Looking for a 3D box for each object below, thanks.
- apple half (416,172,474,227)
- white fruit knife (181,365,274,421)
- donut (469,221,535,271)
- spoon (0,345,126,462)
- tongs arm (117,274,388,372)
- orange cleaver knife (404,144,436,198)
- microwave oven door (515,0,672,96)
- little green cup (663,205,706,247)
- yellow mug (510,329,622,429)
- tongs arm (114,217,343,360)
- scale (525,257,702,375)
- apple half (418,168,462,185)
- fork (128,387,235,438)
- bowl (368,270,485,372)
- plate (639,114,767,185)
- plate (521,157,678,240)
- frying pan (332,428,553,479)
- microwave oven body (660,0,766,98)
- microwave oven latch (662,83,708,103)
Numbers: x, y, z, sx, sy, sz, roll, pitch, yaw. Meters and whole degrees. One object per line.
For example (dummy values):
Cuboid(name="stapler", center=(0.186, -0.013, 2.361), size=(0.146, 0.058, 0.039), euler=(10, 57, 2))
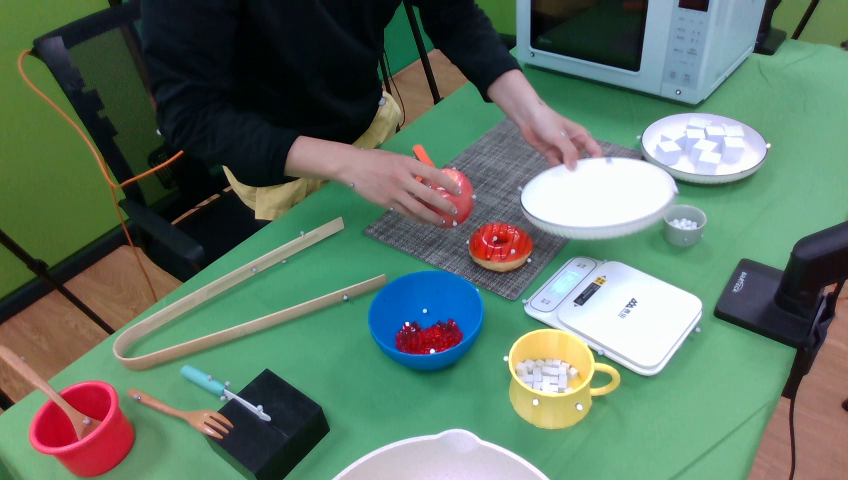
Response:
Cuboid(name="apple half", center=(0.032, -0.050, 0.845), size=(0.081, 0.075, 0.053), euler=(-10, 46, -1))
Cuboid(name="white fruit knife", center=(-0.245, 0.187, 0.747), size=(0.205, 0.027, 0.016), euler=(9, 41, 40))
Cuboid(name="donut", center=(0.118, 0.009, 0.923), size=(0.099, 0.048, 0.098), euler=(-2, 39, 2))
Cuboid(name="spoon", center=(-0.434, 0.191, 0.720), size=(0.194, 0.021, 0.042), euler=(47, 53, -6))
Cuboid(name="tongs arm", center=(-0.236, 0.116, 0.870), size=(0.389, 0.028, 0.028), euler=(-18, 49, -13))
Cuboid(name="orange cleaver knife", center=(0.005, -0.113, 1.103), size=(0.077, 0.012, 0.209), euler=(-23, 45, -10))
Cuboid(name="microwave oven door", center=(0.343, -0.454, 1.259), size=(0.353, 0.245, 0.039), euler=(26, 51, 33))
Cuboid(name="little green cup", center=(0.396, -0.021, 0.926), size=(0.061, 0.039, 0.061), euler=(-3, 41, 3))
Cuboid(name="yellow mug", center=(0.168, 0.164, 0.721), size=(0.130, 0.064, 0.099), euler=(0, 40, 8))
Cuboid(name="tongs arm", center=(-0.280, 0.068, 0.927), size=(0.386, 0.026, 0.050), euler=(-29, 50, -23))
Cuboid(name="scale", center=(0.255, 0.091, 0.821), size=(0.199, 0.032, 0.149), euler=(28, 51, 35))
Cuboid(name="apple half", center=(0.027, -0.076, 0.873), size=(0.081, 0.081, 0.032), euler=(-9, 46, -1))
Cuboid(name="fork", center=(-0.305, 0.208, 0.744), size=(0.206, 0.019, 0.028), euler=(3, 42, 36))
Cuboid(name="bowl", center=(0.007, 0.118, 0.791), size=(0.151, 0.077, 0.150), euler=(-4, 40, 4))
Cuboid(name="plate", center=(0.489, -0.157, 1.074), size=(0.207, 0.039, 0.206), euler=(-4, 40, 4))
Cuboid(name="plate", center=(0.241, -0.054, 0.840), size=(0.209, 0.038, 0.208), euler=(-9, 30, 6))
Cuboid(name="frying pan", center=(-0.089, 0.306, 0.564), size=(0.487, 0.103, 0.306), euler=(10, 41, 7))
Cuboid(name="microwave oven body", center=(0.472, -0.513, 1.317), size=(0.438, 0.261, 0.327), euler=(26, 51, 34))
Cuboid(name="microwave oven latch", center=(0.518, -0.296, 1.204), size=(0.078, 0.029, 0.030), euler=(28, 52, 35))
